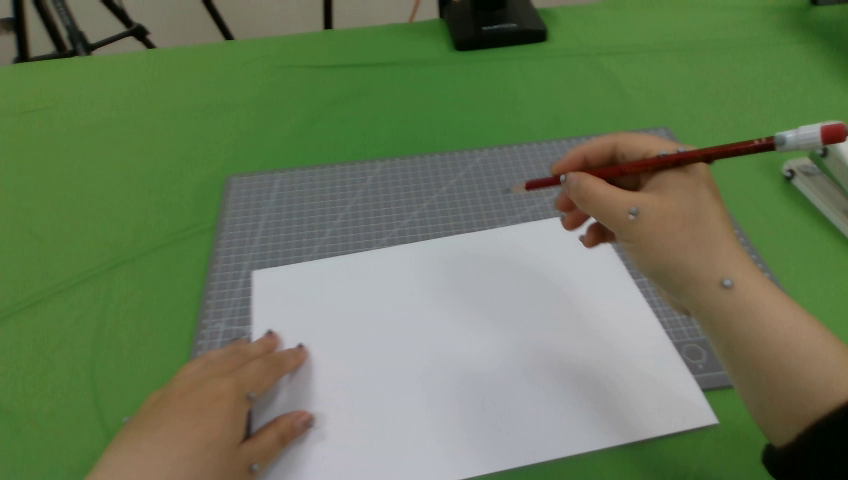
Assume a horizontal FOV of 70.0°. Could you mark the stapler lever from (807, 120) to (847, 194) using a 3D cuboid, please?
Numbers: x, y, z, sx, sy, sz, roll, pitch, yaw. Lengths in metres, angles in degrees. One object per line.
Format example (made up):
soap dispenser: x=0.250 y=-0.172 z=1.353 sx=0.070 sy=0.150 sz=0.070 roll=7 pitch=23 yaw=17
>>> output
stapler lever: x=0.361 y=-0.055 z=0.501 sx=0.027 sy=0.040 sz=0.116 roll=-12 pitch=47 yaw=-4

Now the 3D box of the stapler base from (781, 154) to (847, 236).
stapler base: x=0.362 y=-0.038 z=0.520 sx=0.041 sy=0.025 sz=0.129 roll=-12 pitch=47 yaw=-4

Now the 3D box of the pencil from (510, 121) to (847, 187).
pencil: x=0.126 y=-0.044 z=0.343 sx=0.193 sy=0.012 sz=0.012 roll=-5 pitch=33 yaw=46
